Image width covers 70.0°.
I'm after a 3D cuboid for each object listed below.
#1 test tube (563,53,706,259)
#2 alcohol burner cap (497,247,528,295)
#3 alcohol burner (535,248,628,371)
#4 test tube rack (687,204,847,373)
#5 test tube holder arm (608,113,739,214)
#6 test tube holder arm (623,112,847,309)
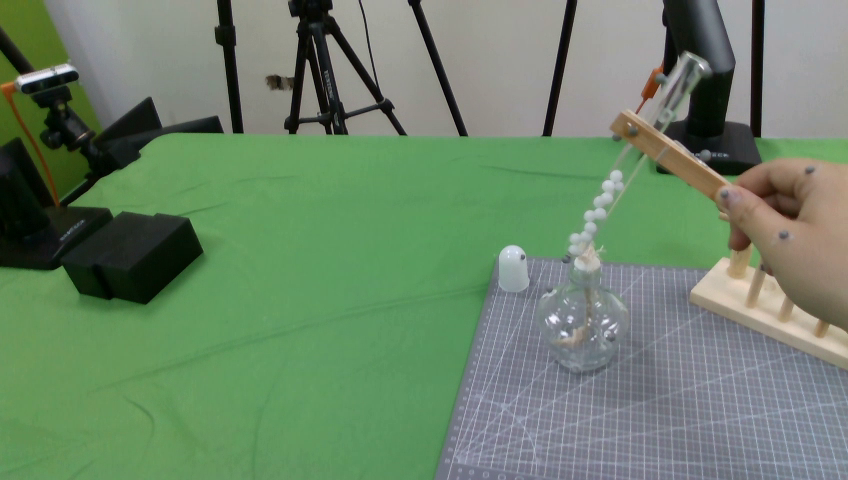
[{"bbox_3d":[0.131,-0.048,0.391,0.017,0.151,0.017,20,29,-11],"label":"test tube"},{"bbox_3d":[0.089,0.028,0.614,0.034,0.048,0.033,-4,37,4],"label":"alcohol burner cap"},{"bbox_3d":[0.133,0.053,0.510,0.078,0.120,0.077,-4,38,4],"label":"alcohol burner"},{"bbox_3d":[0.350,0.053,0.491,0.067,0.086,0.240,-34,43,-31],"label":"test tube rack"},{"bbox_3d":[0.152,-0.047,0.373,0.087,0.015,0.010,39,32,11],"label":"test tube holder arm"},{"bbox_3d":[0.187,-0.020,0.366,0.177,0.015,0.013,43,34,17],"label":"test tube holder arm"}]
